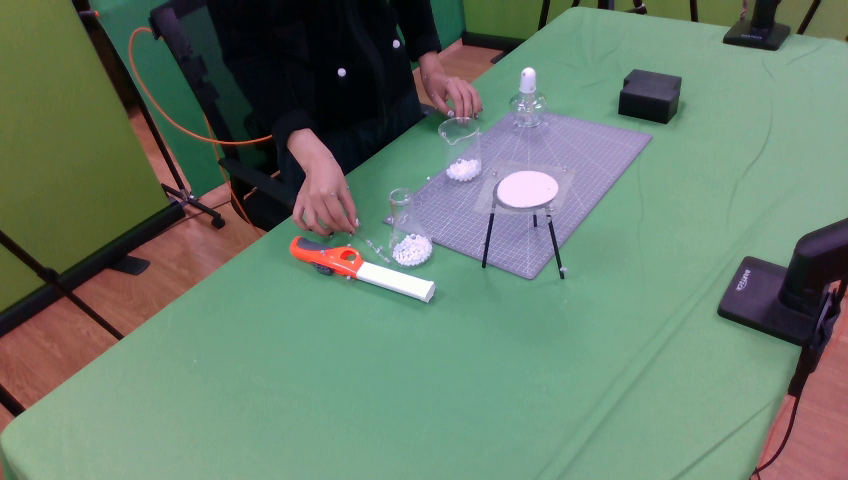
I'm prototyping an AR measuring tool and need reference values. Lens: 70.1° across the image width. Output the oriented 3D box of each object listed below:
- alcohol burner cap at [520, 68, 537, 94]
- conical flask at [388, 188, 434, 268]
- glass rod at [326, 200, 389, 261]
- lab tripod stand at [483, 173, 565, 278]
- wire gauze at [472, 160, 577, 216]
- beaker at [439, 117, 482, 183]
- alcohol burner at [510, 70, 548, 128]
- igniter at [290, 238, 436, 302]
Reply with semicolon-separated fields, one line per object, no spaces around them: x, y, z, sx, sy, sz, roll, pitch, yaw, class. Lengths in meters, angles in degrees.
0.205;-0.313;1.183;0.034;0.048;0.033;-3;50;4;alcohol burner cap
-0.028;-0.022;0.937;0.075;0.122;0.075;-6;40;5;conical flask
-0.114;-0.019;1.007;0.008;0.008;0.198;-30;48;-22;glass rod
0.151;-0.025;0.896;0.148;0.132;0.147;-7;40;6;lab tripod stand
0.143;-0.073;0.850;0.121;0.011;0.125;8;43;22;wire gauze
0.068;-0.160;1.097;0.073;0.101;0.084;7;43;19;beaker
0.209;-0.287;1.208;0.078;0.119;0.077;-5;42;5;alcohol burner
-0.106;0.043;0.949;0.274;0.025;0.057;16;57;27;igniter
